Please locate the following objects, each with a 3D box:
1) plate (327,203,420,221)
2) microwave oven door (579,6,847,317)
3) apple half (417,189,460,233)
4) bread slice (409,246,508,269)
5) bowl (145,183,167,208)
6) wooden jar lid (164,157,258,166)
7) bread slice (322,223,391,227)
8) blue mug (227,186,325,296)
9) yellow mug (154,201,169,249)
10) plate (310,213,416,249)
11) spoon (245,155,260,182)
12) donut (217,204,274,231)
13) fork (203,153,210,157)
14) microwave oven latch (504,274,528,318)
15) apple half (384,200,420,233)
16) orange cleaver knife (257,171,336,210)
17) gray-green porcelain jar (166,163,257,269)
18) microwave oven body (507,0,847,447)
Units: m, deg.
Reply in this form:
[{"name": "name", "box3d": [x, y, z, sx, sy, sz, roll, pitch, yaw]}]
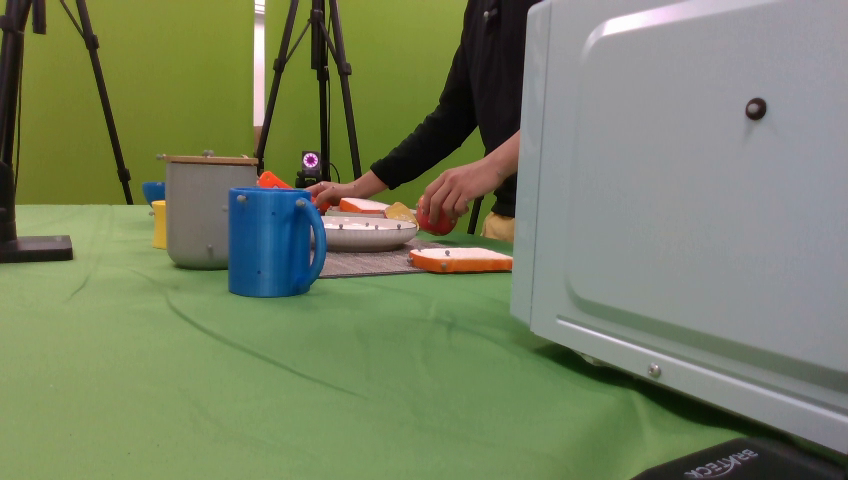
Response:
[{"name": "plate", "box3d": [-0.102, -0.053, 1.299, 0.209, 0.038, 0.209, 2, 8, 0]}, {"name": "microwave oven door", "box3d": [0.294, -0.067, 0.570, 0.358, 0.243, 0.039, -3, 9, -31]}, {"name": "apple half", "box3d": [0.033, -0.052, 1.085, 0.081, 0.074, 0.053, 24, -13, -38]}, {"name": "bread slice", "box3d": [0.048, 0.022, 0.816, 0.132, 0.019, 0.104, 0, 7, -24]}, {"name": "bowl", "box3d": [-0.459, -0.068, 1.175, 0.151, 0.077, 0.151, 3, 7, 0]}, {"name": "wooden jar lid", "box3d": [-0.261, -0.093, 0.746, 0.108, 0.020, 0.108, 0, 9, 0]}, {"name": "bread slice", "box3d": [-0.116, -0.014, 0.974, 0.135, 0.018, 0.106, -6, 11, -42]}, {"name": "blue mug", "box3d": [-0.147, 0.000, 0.618, 0.116, 0.106, 0.083, 7, 9, 32]}, {"name": "yellow mug", "box3d": [-0.337, -0.022, 0.899, 0.130, 0.064, 0.100, 8, 9, 34]}, {"name": "plate", "box3d": [-0.117, -0.014, 0.967, 0.208, 0.039, 0.207, 2, 7, 0]}, {"name": "spoon", "box3d": [-0.421, -0.150, 1.540, 0.042, 0.021, 0.193, -5, 55, -37]}, {"name": "donut", "box3d": [-0.318, -0.038, 1.080, 0.099, 0.048, 0.099, 3, 7, 0]}, {"name": "fork", "box3d": [-0.480, -0.135, 1.411, 0.028, 0.018, 0.207, 1, -34, 0]}, {"name": "microwave oven latch", "box3d": [0.100, 0.041, 0.471, 0.079, 0.029, 0.030, -1, 8, -28]}, {"name": "apple half", "box3d": [-0.047, -0.038, 1.175, 0.082, 0.081, 0.032, -7, -28, -50]}, {"name": "orange cleaver knife", "box3d": [-0.282, -0.087, 1.343, 0.212, 0.077, 0.012, 23, -15, -41]}, {"name": "gray-green porcelain jar", "box3d": [-0.263, -0.031, 0.754, 0.106, 0.126, 0.106, 2, 7, 0]}, {"name": "microwave oven body", "box3d": [0.331, -0.042, 0.425, 0.444, 0.260, 0.324, -2, 8, -31]}]
